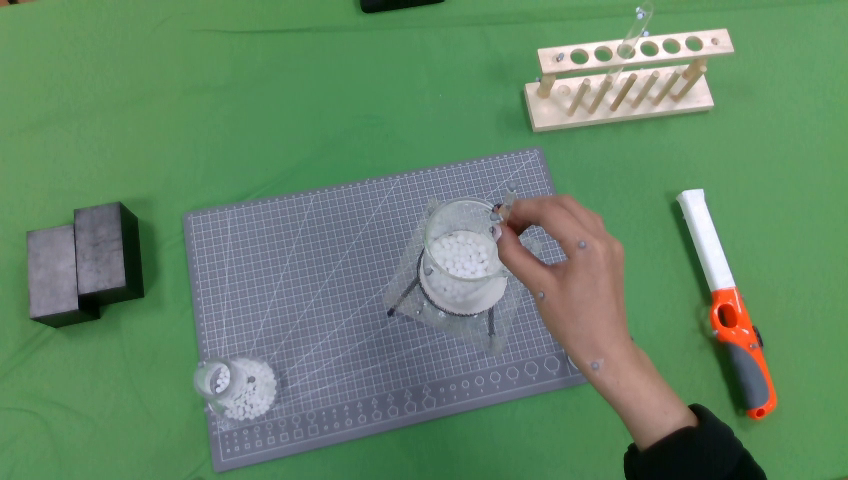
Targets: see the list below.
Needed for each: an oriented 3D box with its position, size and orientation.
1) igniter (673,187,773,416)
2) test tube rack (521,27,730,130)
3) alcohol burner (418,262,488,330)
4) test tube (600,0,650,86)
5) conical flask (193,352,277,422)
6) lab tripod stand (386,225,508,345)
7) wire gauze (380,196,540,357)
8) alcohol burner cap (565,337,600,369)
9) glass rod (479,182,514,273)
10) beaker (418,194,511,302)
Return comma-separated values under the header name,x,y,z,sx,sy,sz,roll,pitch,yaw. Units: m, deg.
name,x,y,z,sx,sy,sz,roll,pitch,yaw
igniter,0.353,0.066,0.718,0.057,0.025,0.274,-6,72,-17
test tube rack,0.255,-0.204,0.769,0.243,0.085,0.066,-8,72,-5
alcohol burner,0.033,0.057,0.655,0.078,0.119,0.077,0,73,-1
test tube,0.238,-0.230,0.725,0.017,0.151,0.017,0,72,0
conical flask,-0.195,0.143,0.609,0.075,0.122,0.075,1,71,-3
lab tripod stand,0.030,0.050,0.646,0.148,0.132,0.147,1,74,-2
wire gauze,0.036,0.031,0.583,0.125,0.011,0.121,24,75,3
alcohol burner cap,0.180,0.124,0.679,0.034,0.048,0.033,1,71,-3
glass rod,0.056,-0.003,0.487,0.008,0.201,0.008,0,71,0
beaker,0.035,0.014,0.538,0.083,0.101,0.074,37,75,9
